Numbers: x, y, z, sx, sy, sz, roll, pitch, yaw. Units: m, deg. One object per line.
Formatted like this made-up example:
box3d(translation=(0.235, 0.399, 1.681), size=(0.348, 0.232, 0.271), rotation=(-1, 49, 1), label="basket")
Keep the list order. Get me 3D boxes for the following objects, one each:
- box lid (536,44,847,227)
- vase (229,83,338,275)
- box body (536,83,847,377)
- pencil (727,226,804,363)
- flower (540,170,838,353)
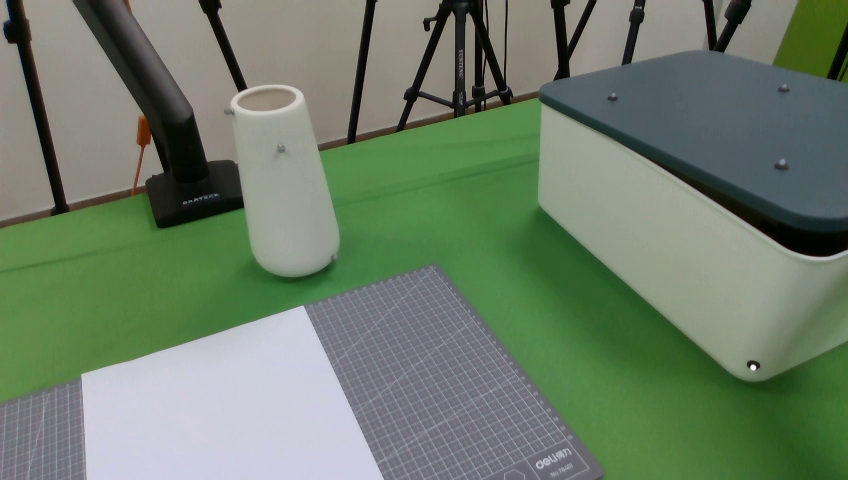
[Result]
box3d(translation=(0.310, -0.125, 0.590), size=(0.264, 0.015, 0.367), rotation=(-18, 34, -18), label="box lid")
box3d(translation=(-0.150, -0.060, 0.642), size=(0.098, 0.202, 0.097), rotation=(-2, 37, 2), label="vase")
box3d(translation=(0.314, -0.052, 0.648), size=(0.255, 0.162, 0.359), rotation=(-18, 40, -19), label="box body")
box3d(translation=(0.357, 0.050, 0.637), size=(0.012, 0.012, 0.192), rotation=(0, 42, 2), label="pencil")
box3d(translation=(0.280, 0.016, 0.681), size=(0.358, 0.038, 0.044), rotation=(36, 14, 29), label="flower")
